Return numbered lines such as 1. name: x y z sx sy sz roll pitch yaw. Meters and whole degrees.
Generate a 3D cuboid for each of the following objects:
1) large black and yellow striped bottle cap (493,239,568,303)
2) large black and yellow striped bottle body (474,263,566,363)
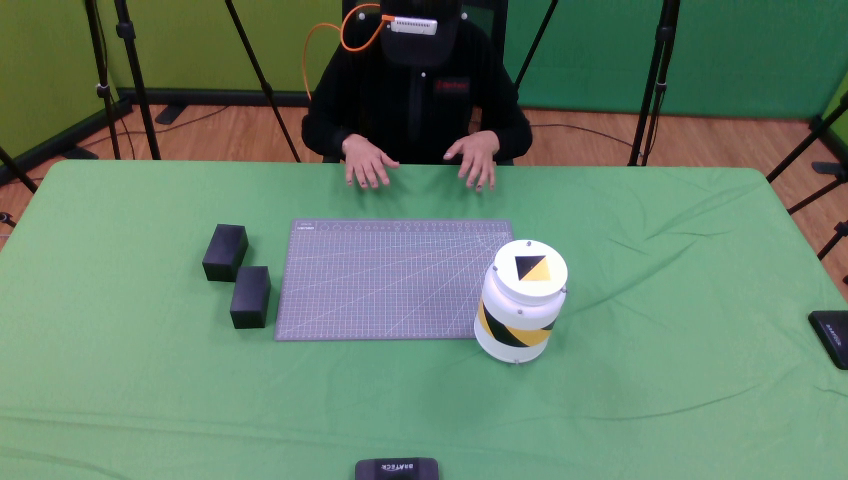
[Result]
1. large black and yellow striped bottle cap: 0.163 0.045 0.932 0.115 0.019 0.114 3 49 -3
2. large black and yellow striped bottle body: 0.157 0.103 0.993 0.131 0.185 0.130 3 48 -3
